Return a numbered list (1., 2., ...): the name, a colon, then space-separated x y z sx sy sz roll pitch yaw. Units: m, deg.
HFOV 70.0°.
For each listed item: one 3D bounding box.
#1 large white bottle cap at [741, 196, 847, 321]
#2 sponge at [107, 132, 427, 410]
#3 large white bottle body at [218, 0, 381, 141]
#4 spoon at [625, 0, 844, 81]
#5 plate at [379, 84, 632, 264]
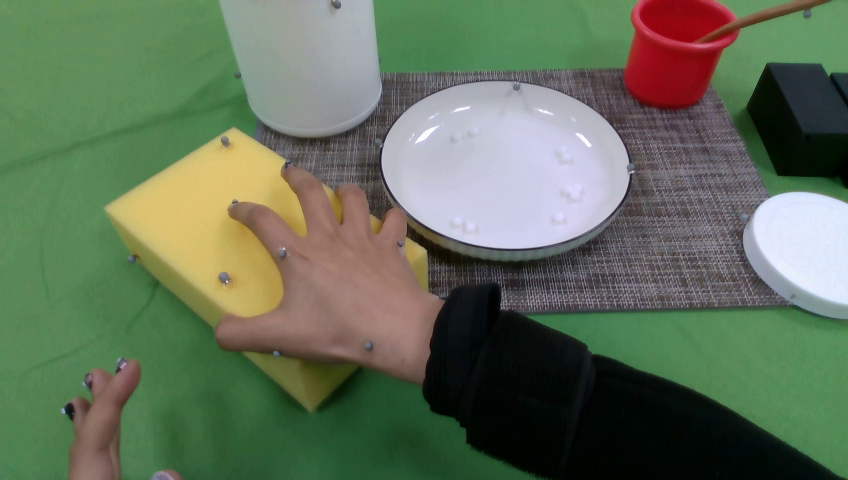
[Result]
1. large white bottle cap: 0.309 0.011 0.471 0.115 0.018 0.113 1 50 -1
2. sponge: -0.113 0.011 0.443 0.205 0.061 0.118 31 57 26
3. large white bottle body: -0.109 -0.197 0.538 0.130 0.186 0.129 -1 50 1
4. spoon: 0.272 -0.183 0.551 0.022 0.193 0.041 52 55 -17
5. plate: 0.067 -0.057 0.516 0.209 0.038 0.207 0 50 0
